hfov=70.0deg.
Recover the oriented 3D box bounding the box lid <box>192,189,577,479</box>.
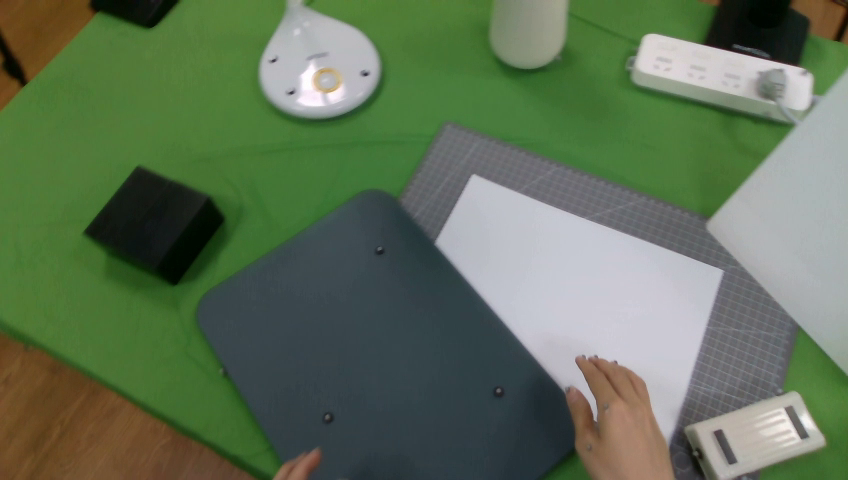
[{"bbox_3d":[-0.052,0.128,0.631,0.263,0.015,0.368,-35,67,-14],"label":"box lid"}]

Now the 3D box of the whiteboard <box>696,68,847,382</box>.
[{"bbox_3d":[0.459,-0.047,0.564,0.144,0.307,0.215,-19,61,-30],"label":"whiteboard"}]

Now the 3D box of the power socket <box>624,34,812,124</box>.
[{"bbox_3d":[0.370,-0.205,0.766,0.226,0.033,0.072,18,66,11],"label":"power socket"}]

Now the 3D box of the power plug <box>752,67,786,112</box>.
[{"bbox_3d":[0.405,-0.175,0.724,0.035,0.053,0.072,28,74,16],"label":"power plug"}]

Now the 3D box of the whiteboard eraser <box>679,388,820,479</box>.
[{"bbox_3d":[0.301,0.181,0.566,0.113,0.042,0.055,-17,62,-5],"label":"whiteboard eraser"}]

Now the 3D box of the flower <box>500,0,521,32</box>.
[{"bbox_3d":[0.139,-0.328,0.654,0.044,0.362,0.038,-16,80,-14],"label":"flower"}]

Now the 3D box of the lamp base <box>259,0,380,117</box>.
[{"bbox_3d":[-0.149,-0.273,0.742,0.161,0.182,0.177,-27,62,-11],"label":"lamp base"}]

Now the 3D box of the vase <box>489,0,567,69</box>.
[{"bbox_3d":[0.129,-0.305,0.735,0.098,0.201,0.097,-2,62,3],"label":"vase"}]
